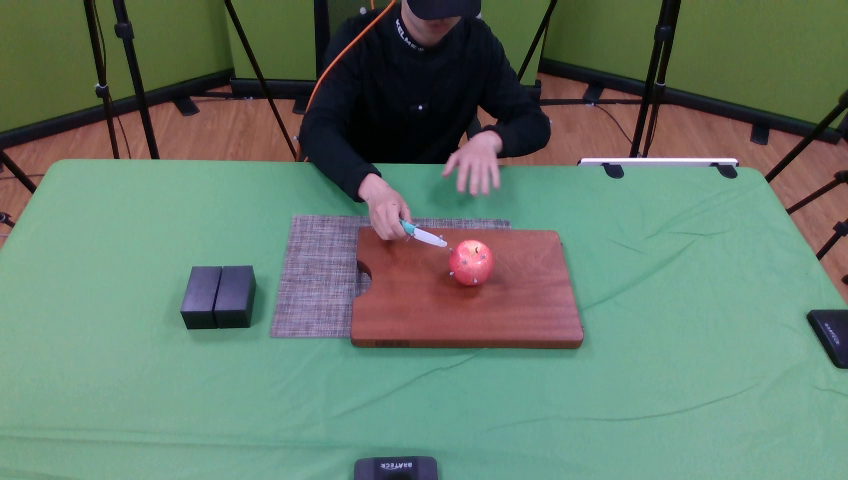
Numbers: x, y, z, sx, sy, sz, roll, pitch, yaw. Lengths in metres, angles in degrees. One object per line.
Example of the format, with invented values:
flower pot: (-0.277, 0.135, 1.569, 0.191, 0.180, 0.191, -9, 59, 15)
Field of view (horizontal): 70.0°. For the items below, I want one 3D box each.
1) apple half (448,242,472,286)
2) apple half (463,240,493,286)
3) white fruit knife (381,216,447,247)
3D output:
apple half: (0.059, 0.046, 1.085, 0.033, 0.081, 0.080, -4, 46, -13)
apple half: (0.097, 0.042, 1.093, 0.053, 0.075, 0.080, -3, 42, -13)
white fruit knife: (-0.020, -0.015, 1.088, 0.016, 0.027, 0.206, -24, 26, -30)
